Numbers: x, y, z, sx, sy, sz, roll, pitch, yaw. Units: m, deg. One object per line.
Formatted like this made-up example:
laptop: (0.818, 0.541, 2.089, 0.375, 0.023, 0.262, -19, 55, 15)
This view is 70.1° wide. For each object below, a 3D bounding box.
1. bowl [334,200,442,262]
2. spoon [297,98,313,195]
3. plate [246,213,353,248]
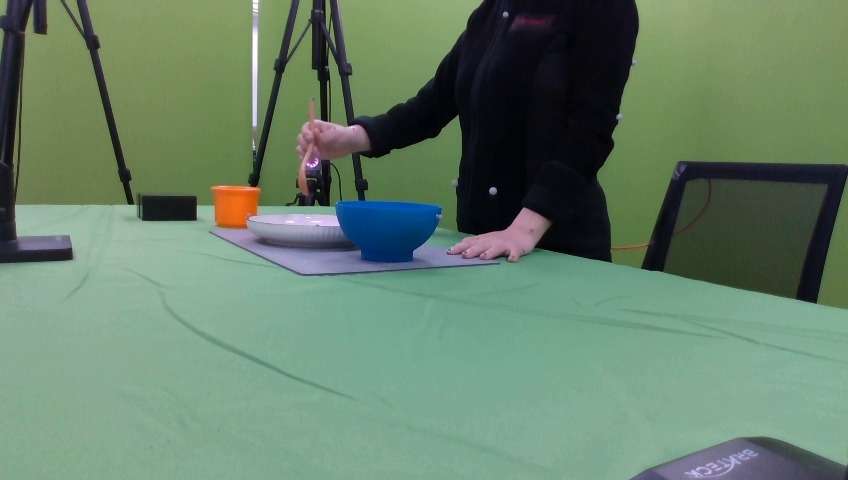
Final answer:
bowl: (-0.051, -0.013, 0.848, 0.151, 0.077, 0.151, 3, 7, 0)
spoon: (-0.209, -0.170, 1.082, 0.022, 0.193, 0.041, 9, -22, -13)
plate: (-0.185, -0.017, 0.995, 0.209, 0.038, 0.209, 3, 8, 0)
